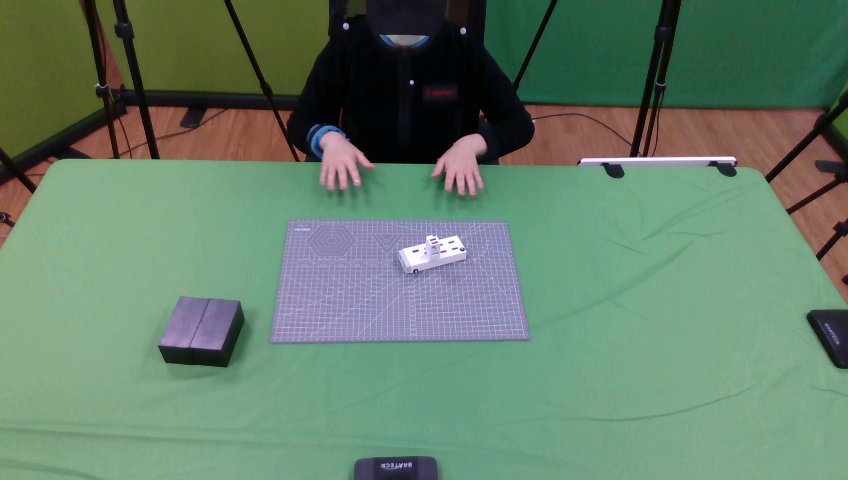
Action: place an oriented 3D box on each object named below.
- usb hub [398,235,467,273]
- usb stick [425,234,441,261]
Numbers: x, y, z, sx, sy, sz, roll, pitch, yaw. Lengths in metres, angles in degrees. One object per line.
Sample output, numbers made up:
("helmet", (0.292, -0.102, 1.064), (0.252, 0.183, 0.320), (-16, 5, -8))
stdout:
("usb hub", (0.016, 0.027, 1.166), (0.125, 0.025, 0.049), (-14, 50, -17))
("usb stick", (0.017, 0.019, 1.133), (0.021, 0.059, 0.027), (-16, 53, -16))
